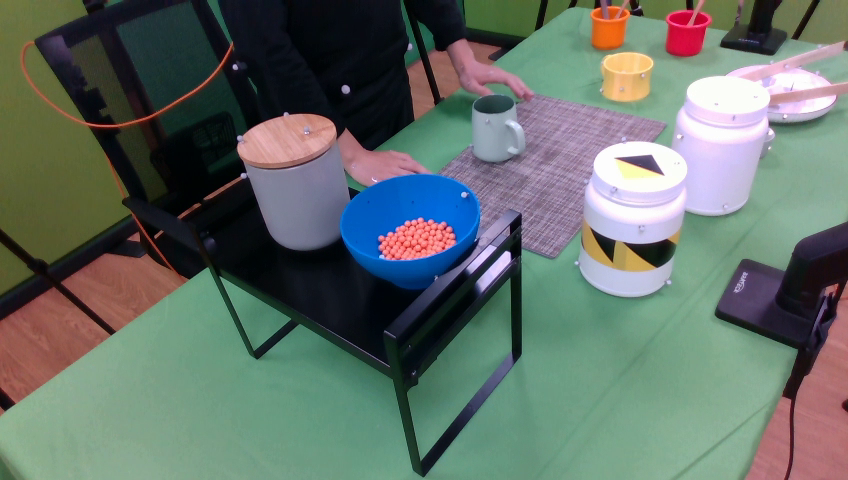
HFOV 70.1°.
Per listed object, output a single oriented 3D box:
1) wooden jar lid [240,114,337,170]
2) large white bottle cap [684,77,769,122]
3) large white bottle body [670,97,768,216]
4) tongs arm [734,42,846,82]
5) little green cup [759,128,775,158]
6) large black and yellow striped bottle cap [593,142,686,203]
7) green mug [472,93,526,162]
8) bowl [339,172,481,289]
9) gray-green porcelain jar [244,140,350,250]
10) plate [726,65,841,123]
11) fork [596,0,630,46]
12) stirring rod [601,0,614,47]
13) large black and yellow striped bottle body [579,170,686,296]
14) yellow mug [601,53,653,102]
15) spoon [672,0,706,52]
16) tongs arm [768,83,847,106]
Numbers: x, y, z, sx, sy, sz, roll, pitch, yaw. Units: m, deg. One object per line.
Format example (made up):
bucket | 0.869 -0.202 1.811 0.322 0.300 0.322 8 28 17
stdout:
wooden jar lid | -0.149 -0.106 0.673 0.108 0.021 0.108 -6 39 5
large white bottle cap | 0.448 -0.210 0.898 0.115 0.018 0.114 -4 40 4
large white bottle body | 0.458 -0.146 0.952 0.130 0.185 0.130 -4 40 4
tongs arm | 0.708 -0.331 1.193 0.386 0.026 0.050 -18 45 -15
little green cup | 0.588 -0.175 1.080 0.061 0.039 0.061 -5 40 5
large black and yellow striped bottle cap | 0.280 -0.090 0.786 0.115 0.019 0.114 -5 41 5
green mug | 0.144 -0.202 1.122 0.093 0.105 0.124 -29 45 -23
bowl | -0.011 0.001 0.660 0.151 0.077 0.150 -5 41 5
gray-green porcelain jar | -0.144 -0.060 0.714 0.106 0.127 0.105 -4 41 4
plate | 0.694 -0.282 1.189 0.207 0.039 0.206 -4 40 4
fork | 0.481 -0.556 1.453 0.028 0.019 0.207 40 103 38
stirring rod | 0.439 -0.552 1.463 0.014 0.006 0.175 -7 83 4
large black and yellow striped bottle body | 0.287 -0.027 0.842 0.131 0.185 0.130 -4 41 4
yellow mug | 0.423 -0.354 1.292 0.100 0.064 0.129 -23 42 -16
spoon | 0.629 -0.520 1.394 0.041 0.022 0.193 29 97 34
tongs arm | 0.734 -0.280 1.133 0.388 0.028 0.028 -9 47 -5
